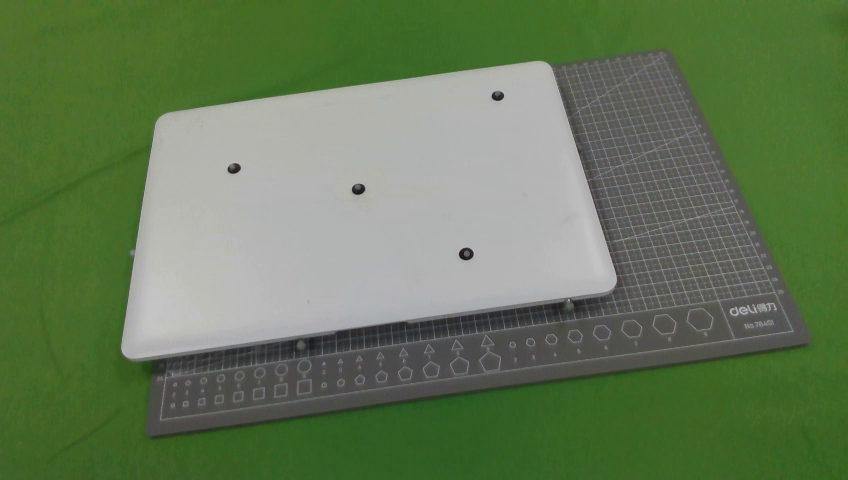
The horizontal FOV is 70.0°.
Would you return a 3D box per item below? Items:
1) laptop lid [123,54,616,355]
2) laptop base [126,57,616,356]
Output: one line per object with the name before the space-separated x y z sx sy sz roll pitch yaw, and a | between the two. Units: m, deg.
laptop lid | -0.051 -0.042 0.477 0.357 0.013 0.239 -7 60 1
laptop base | -0.050 -0.038 0.488 0.354 0.023 0.233 -8 61 0
